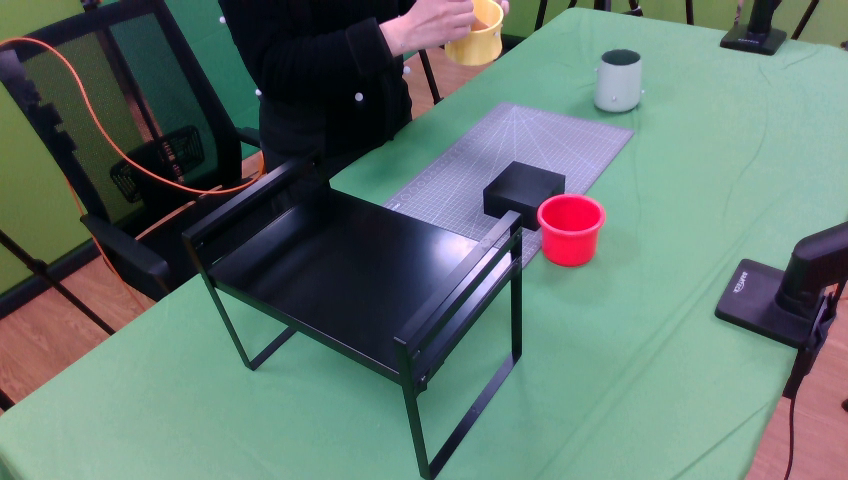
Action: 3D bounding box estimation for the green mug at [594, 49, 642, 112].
[{"bbox_3d":[0.397,-0.333,1.240,0.092,0.105,0.125,-3,41,7],"label":"green mug"}]

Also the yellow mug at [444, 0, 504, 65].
[{"bbox_3d":[0.090,-0.367,1.035,0.099,0.064,0.130,16,56,15],"label":"yellow mug"}]

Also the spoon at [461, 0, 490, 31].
[{"bbox_3d":[0.072,-0.364,0.955,0.041,0.195,0.021,-40,63,5],"label":"spoon"}]
